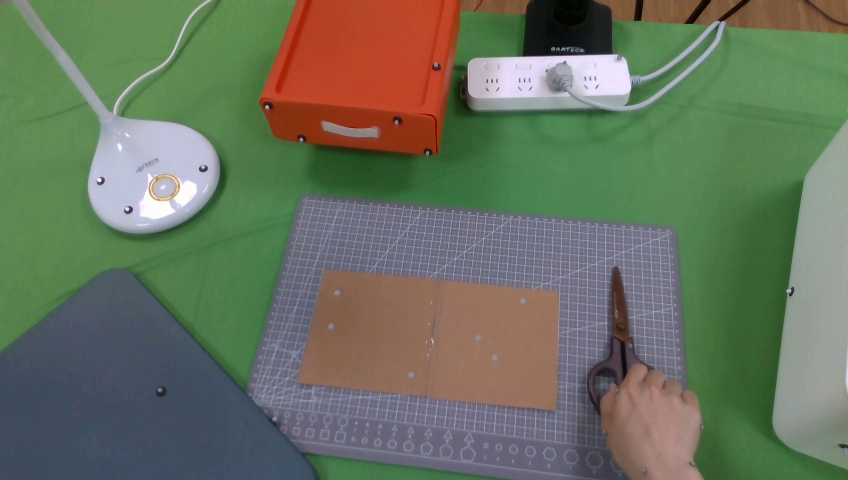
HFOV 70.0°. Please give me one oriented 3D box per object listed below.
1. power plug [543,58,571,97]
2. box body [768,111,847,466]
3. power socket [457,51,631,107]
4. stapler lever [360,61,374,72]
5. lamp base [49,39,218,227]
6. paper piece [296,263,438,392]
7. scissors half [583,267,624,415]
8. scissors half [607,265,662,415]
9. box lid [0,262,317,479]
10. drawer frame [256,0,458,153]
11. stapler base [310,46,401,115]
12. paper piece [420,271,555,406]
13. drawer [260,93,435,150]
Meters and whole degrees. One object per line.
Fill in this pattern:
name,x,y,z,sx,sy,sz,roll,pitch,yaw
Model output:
power plug,0.165,-0.197,0.762,0.035,0.053,0.072,10,63,7
box body,0.498,0.051,0.572,0.253,0.161,0.362,18,65,11
power socket,0.157,-0.212,0.796,0.227,0.033,0.071,0,63,2
stapler lever,-0.096,-0.207,0.718,0.117,0.040,0.027,35,85,23
lamp base,-0.350,-0.129,0.689,0.178,0.182,0.160,36,69,22
paper piece,-0.060,0.091,0.658,0.136,0.009,0.137,4,64,8
scissors half,0.195,0.100,0.643,0.040,0.013,0.174,4,56,20
scissors half,0.215,0.099,0.638,0.040,0.013,0.173,-7,54,5
box lid,-0.311,0.210,0.607,0.369,0.015,0.263,39,71,20
drawer frame,-0.071,-0.221,0.733,0.201,0.083,0.212,6,62,6
stapler base,-0.087,-0.200,0.742,0.129,0.024,0.041,35,85,21
paper piece,0.071,0.102,0.646,0.135,0.004,0.134,7,63,6
drawer,-0.070,-0.219,0.732,0.194,0.074,0.210,7,62,7
